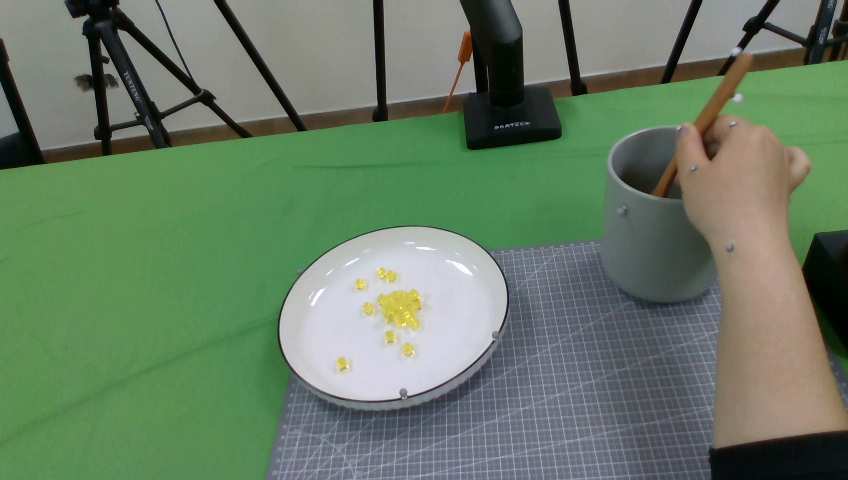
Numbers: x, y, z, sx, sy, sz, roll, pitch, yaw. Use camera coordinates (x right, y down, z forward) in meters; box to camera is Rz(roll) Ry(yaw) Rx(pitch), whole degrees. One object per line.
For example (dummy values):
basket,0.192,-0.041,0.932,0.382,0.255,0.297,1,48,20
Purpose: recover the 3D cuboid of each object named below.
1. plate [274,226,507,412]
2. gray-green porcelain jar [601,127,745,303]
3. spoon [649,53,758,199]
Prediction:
plate,-0.029,0.069,0.549,0.207,0.039,0.205,-6,42,5
gray-green porcelain jar,0.209,-0.017,0.527,0.106,0.128,0.105,-6,42,6
spoon,0.201,-0.057,0.479,0.022,0.195,0.041,2,42,-20
